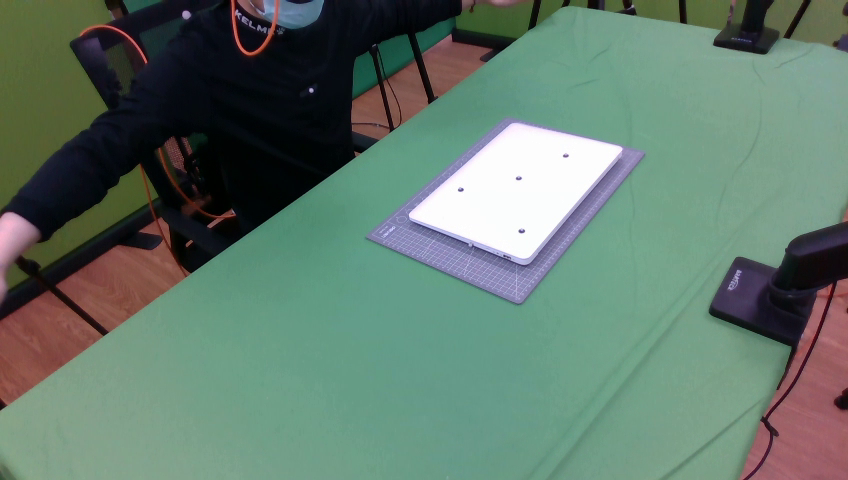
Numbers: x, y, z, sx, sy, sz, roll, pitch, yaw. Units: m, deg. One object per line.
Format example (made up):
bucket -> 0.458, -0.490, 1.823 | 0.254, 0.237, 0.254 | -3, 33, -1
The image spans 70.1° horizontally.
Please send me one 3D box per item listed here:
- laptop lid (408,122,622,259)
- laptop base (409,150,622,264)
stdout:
laptop lid -> 0.165, -0.105, 1.050 | 0.240, 0.013, 0.358 | 22, 48, 33
laptop base -> 0.168, -0.095, 1.057 | 0.233, 0.023, 0.355 | 20, 47, 33
